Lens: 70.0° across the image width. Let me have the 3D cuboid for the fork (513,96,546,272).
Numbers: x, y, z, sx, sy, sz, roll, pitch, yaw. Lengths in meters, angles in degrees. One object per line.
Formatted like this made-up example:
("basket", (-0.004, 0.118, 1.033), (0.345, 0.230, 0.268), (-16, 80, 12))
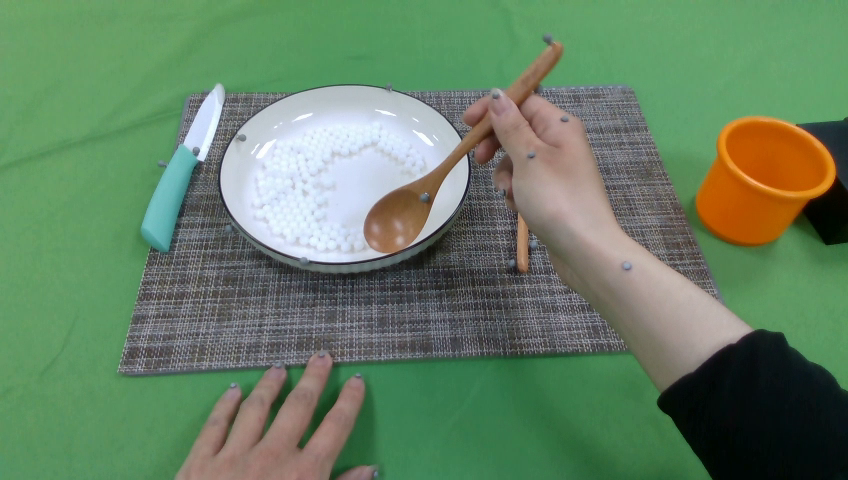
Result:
("fork", (0.092, -0.057, 0.538), (0.018, 0.028, 0.206), (-9, 49, 31))

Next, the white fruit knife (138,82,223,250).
("white fruit knife", (-0.212, -0.077, 0.541), (0.027, 0.016, 0.205), (23, 47, -21))

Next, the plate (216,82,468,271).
("plate", (-0.066, -0.056, 0.517), (0.209, 0.038, 0.207), (1, 53, -1))

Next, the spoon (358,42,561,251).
("spoon", (0.023, -0.063, 0.425), (0.041, 0.194, 0.021), (48, 21, 5))
